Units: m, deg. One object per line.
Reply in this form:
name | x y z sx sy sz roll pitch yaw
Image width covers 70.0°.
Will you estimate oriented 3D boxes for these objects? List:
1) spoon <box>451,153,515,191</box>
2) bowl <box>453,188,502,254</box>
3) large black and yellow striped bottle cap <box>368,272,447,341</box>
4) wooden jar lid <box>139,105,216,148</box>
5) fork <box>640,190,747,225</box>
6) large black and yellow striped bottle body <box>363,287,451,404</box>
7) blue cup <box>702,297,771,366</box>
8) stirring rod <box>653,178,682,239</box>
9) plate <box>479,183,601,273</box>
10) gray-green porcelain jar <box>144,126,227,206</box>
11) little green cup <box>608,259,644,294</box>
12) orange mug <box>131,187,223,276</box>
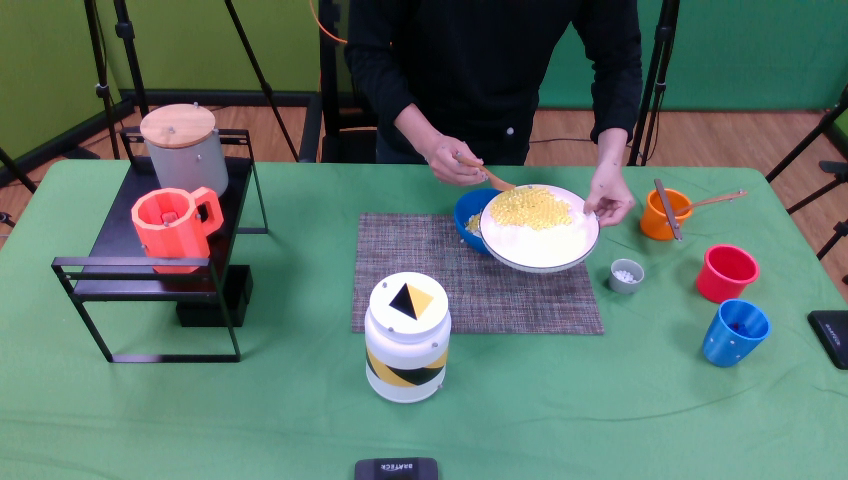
spoon | 0.101 -0.117 1.038 0.041 0.195 0.021 5 78 38
bowl | 0.128 -0.026 1.186 0.151 0.077 0.150 1 44 -1
large black and yellow striped bottle cap | -0.023 0.093 0.875 0.115 0.019 0.114 3 46 -3
wooden jar lid | -0.372 -0.169 0.920 0.108 0.021 0.107 4 44 -4
fork | 0.533 -0.065 1.211 0.207 0.019 0.028 -22 28 38
large black and yellow striped bottle body | -0.027 0.153 0.935 0.131 0.185 0.130 2 46 -2
blue cup | 0.519 0.162 1.025 0.093 0.101 0.092 3 45 -3
stirring rod | 0.481 -0.065 1.203 0.014 0.006 0.175 2 46 -1
plate | 0.201 -0.018 1.067 0.209 0.038 0.208 -2 47 3
gray-green porcelain jar | -0.375 -0.126 0.967 0.106 0.127 0.105 2 46 -2
little green cup | 0.379 0.070 1.147 0.061 0.039 0.061 3 46 -3
orange mug | -0.354 -0.022 0.888 0.083 0.101 0.126 31 55 24
